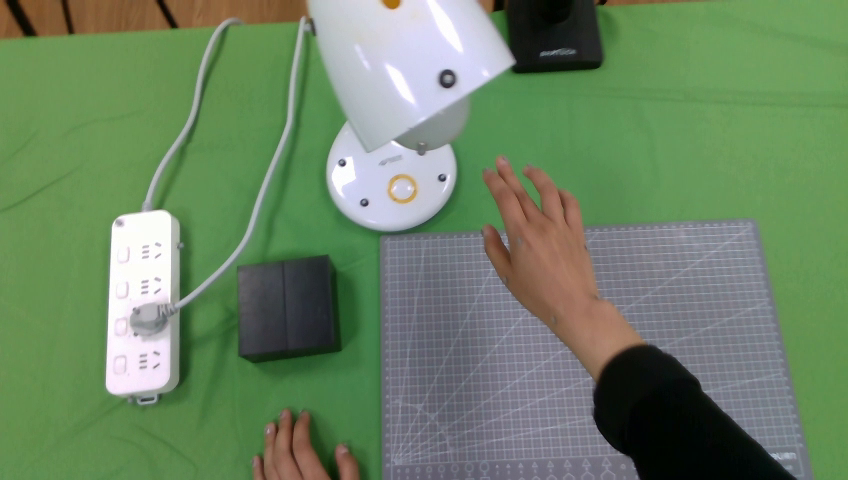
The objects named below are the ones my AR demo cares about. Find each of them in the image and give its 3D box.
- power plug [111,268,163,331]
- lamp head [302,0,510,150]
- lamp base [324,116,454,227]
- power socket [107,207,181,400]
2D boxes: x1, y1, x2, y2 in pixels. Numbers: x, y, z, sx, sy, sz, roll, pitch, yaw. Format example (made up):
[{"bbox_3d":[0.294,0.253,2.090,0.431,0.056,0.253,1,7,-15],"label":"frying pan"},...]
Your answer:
[{"bbox_3d":[-0.314,0.067,0.669,0.035,0.053,0.072,-18,65,-22],"label":"power plug"},{"bbox_3d":[-0.022,-0.135,0.385,0.112,0.112,0.123,-33,97,-10],"label":"lamp head"},{"bbox_3d":[-0.052,-0.126,0.677,0.160,0.181,0.178,-30,70,-9],"label":"lamp base"},{"bbox_3d":[-0.317,0.066,0.693,0.072,0.033,0.225,-7,70,-2],"label":"power socket"}]
